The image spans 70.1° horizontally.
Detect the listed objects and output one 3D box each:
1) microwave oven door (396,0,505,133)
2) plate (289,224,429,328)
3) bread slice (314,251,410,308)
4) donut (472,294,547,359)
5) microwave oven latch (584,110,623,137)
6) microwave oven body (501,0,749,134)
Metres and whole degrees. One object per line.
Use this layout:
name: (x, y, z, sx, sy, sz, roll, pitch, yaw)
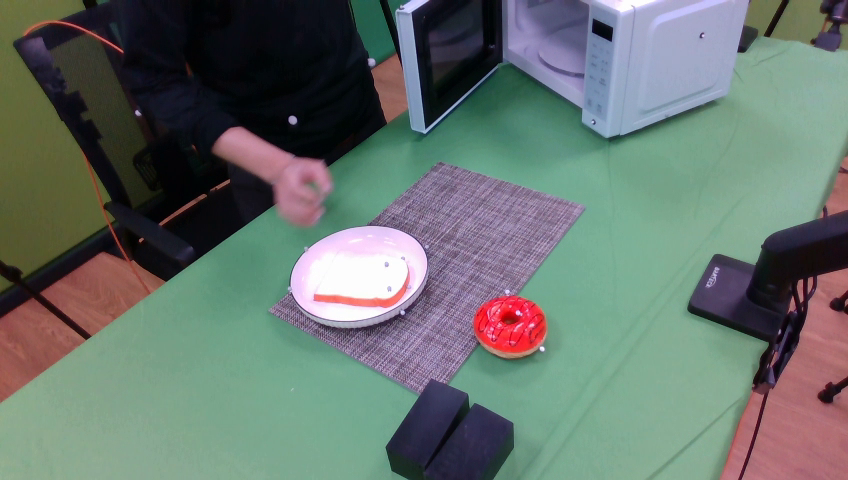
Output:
microwave oven door: (0.068, -0.413, 1.247, 0.039, 0.245, 0.356, 19, 47, 27)
plate: (-0.094, 0.054, 0.902, 0.207, 0.039, 0.206, -4, 41, 4)
bread slice: (-0.087, 0.057, 0.900, 0.131, 0.019, 0.104, 5, 43, 15)
donut: (0.114, 0.114, 0.803, 0.099, 0.048, 0.098, 0, 40, 1)
microwave oven latch: (0.337, -0.222, 1.142, 0.030, 0.029, 0.078, -21, 42, -14)
microwave oven body: (0.382, -0.445, 1.246, 0.327, 0.261, 0.437, -22, 42, -16)
